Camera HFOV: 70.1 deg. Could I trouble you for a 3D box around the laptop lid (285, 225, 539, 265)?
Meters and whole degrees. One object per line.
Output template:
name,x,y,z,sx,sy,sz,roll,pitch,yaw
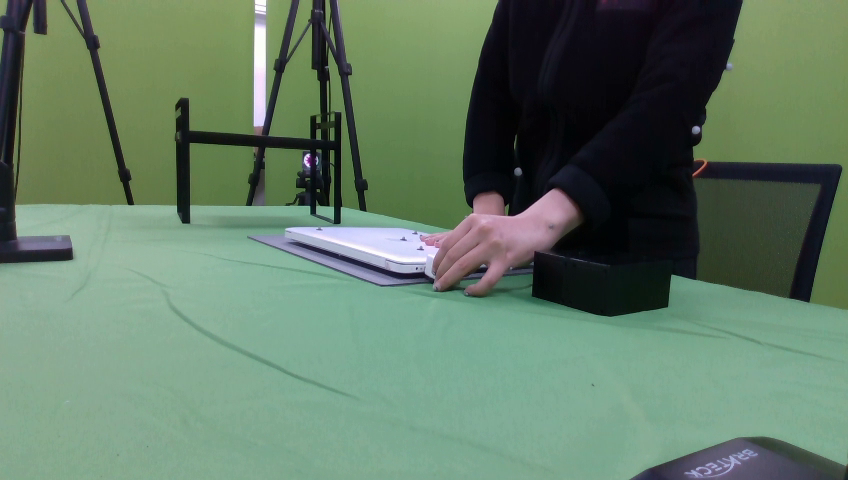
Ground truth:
laptop lid,-0.032,0.002,0.898,0.243,0.013,0.355,0,8,-34

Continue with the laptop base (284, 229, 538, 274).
laptop base,-0.034,0.013,0.898,0.237,0.023,0.352,1,7,-36

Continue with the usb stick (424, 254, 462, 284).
usb stick,0.017,0.031,0.696,0.021,0.027,0.059,-2,9,-34
